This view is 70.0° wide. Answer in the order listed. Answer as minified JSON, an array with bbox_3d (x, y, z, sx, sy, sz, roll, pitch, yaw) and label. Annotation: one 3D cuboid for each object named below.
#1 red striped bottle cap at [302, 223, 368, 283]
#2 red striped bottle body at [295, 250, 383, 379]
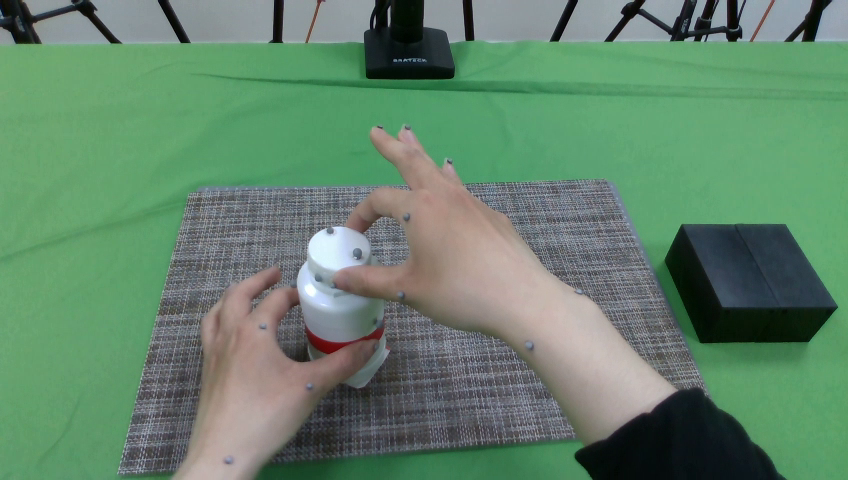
[{"bbox_3d":[-0.060,0.008,0.416,0.045,0.018,0.044,10,41,-9],"label":"red striped bottle cap"},{"bbox_3d":[-0.063,0.048,0.458,0.063,0.121,0.062,2,46,-2],"label":"red striped bottle body"}]
